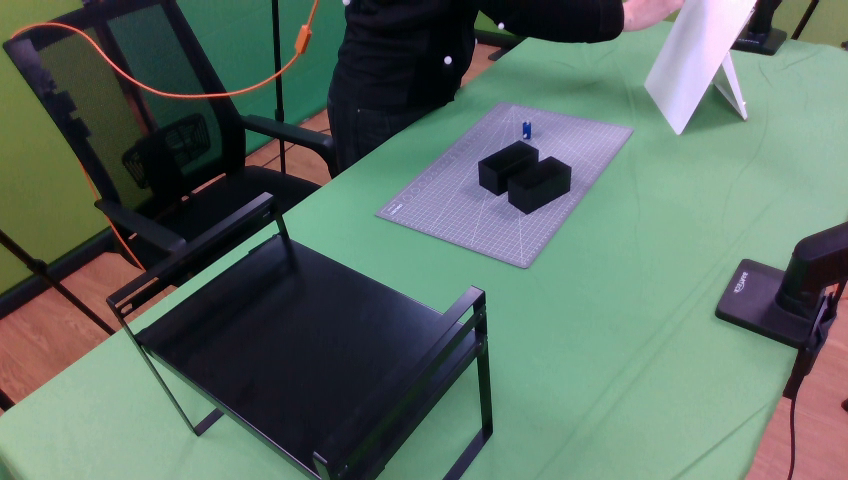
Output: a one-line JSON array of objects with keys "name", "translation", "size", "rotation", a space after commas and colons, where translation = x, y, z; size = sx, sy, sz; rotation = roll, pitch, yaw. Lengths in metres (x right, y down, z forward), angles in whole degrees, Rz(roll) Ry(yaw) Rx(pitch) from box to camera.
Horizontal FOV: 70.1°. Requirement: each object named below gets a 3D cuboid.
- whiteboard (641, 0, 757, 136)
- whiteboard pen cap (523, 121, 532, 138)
[{"name": "whiteboard", "translation": [0.576, -0.366, 1.147], "size": [0.144, 0.306, 0.216], "rotation": [9, 39, -9]}, {"name": "whiteboard pen cap", "translation": [0.204, -0.216, 1.185], "size": [0.018, 0.033, 0.018], "rotation": [-7, 42, 6]}]
